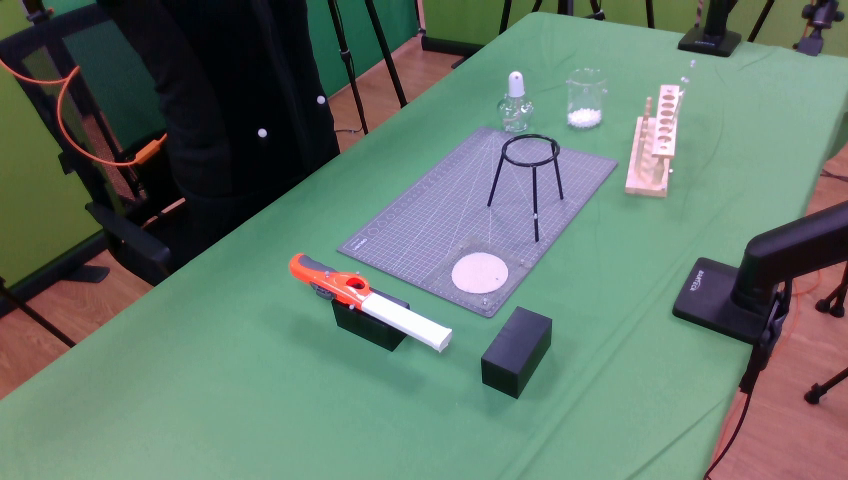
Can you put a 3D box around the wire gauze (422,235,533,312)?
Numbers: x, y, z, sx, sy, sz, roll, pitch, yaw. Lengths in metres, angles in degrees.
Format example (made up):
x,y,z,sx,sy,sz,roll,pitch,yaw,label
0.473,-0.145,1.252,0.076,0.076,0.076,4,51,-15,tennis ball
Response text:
x,y,z,sx,sy,sz,roll,pitch,yaw,label
0.081,0.049,0.914,0.120,0.011,0.125,26,52,32,wire gauze

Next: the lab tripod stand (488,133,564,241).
x,y,z,sx,sy,sz,roll,pitch,yaw,label
0.168,-0.093,0.972,0.148,0.132,0.147,-5,41,5,lab tripod stand

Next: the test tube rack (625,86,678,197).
x,y,z,sx,sy,sz,roll,pitch,yaw,label
0.412,-0.184,1.088,0.066,0.085,0.242,9,43,18,test tube rack

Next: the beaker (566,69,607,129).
x,y,z,sx,sy,sz,roll,pitch,yaw,label
0.322,-0.280,1.202,0.073,0.101,0.084,11,43,20,beaker

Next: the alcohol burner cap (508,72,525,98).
x,y,z,sx,sy,sz,roll,pitch,yaw,label
0.181,-0.306,1.186,0.034,0.048,0.033,-6,39,6,alcohol burner cap

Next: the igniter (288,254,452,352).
x,y,z,sx,sy,sz,roll,pitch,yaw,label
-0.083,0.079,0.818,0.274,0.025,0.057,23,46,27,igniter

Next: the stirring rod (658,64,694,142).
x,y,z,sx,sy,sz,roll,pitch,yaw,label
0.409,-0.213,1.000,0.006,0.176,0.014,36,57,25,stirring rod

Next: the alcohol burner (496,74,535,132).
x,y,z,sx,sy,sz,roll,pitch,yaw,label
0.183,-0.278,1.209,0.078,0.119,0.077,-3,43,4,alcohol burner
